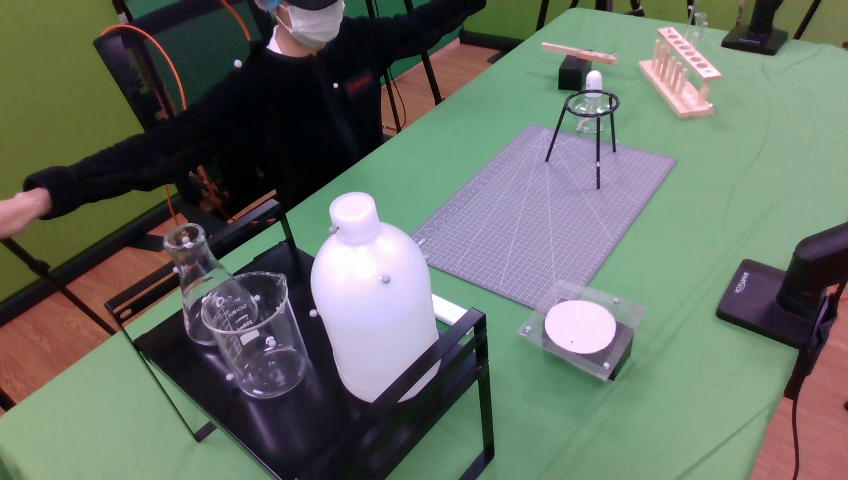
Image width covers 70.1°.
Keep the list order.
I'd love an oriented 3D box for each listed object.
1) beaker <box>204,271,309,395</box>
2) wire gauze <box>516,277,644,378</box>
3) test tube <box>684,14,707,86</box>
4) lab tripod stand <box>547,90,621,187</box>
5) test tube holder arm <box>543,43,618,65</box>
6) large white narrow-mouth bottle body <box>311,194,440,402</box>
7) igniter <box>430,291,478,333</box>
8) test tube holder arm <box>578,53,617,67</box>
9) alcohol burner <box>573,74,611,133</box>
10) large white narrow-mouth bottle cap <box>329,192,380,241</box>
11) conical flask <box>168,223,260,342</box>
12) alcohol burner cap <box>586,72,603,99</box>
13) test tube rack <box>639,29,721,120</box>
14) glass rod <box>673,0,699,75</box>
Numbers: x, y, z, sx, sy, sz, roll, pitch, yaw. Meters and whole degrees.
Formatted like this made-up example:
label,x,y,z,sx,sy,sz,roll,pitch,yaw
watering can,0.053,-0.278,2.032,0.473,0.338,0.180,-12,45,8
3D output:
label,x,y,z,sx,sy,sz,roll,pitch,yaw
beaker,-0.149,0.088,0.565,0.073,0.101,0.084,21,47,29
wire gauze,0.197,0.103,0.765,0.124,0.011,0.122,23,50,32
test tube,0.541,-0.379,1.216,0.017,0.151,0.017,-2,44,2
lab tripod stand,0.289,-0.184,1.062,0.148,0.132,0.147,-6,41,6
test tube holder arm,0.345,-0.413,1.341,0.177,0.015,0.013,25,50,32
large white narrow-mouth bottle body,-0.043,0.046,0.522,0.102,0.195,0.101,-5,40,5
igniter,-0.038,0.068,0.905,0.274,0.025,0.057,24,60,32
test tube holder arm,0.376,-0.393,1.314,0.087,0.015,0.010,26,51,32
alcohol burner,0.330,-0.270,1.177,0.078,0.119,0.077,-4,43,4
large white narrow-mouth bottle cap,-0.053,-0.019,0.466,0.038,0.024,0.037,-5,40,4
conical flask,-0.219,0.040,0.614,0.075,0.122,0.075,-5,40,4
alcohol burner cap,0.325,-0.297,1.154,0.034,0.048,0.033,-8,35,6
test tube rack,0.527,-0.351,1.262,0.067,0.085,0.241,-8,40,1
glass rod,0.541,-0.427,1.246,0.008,0.200,0.008,0,48,1
